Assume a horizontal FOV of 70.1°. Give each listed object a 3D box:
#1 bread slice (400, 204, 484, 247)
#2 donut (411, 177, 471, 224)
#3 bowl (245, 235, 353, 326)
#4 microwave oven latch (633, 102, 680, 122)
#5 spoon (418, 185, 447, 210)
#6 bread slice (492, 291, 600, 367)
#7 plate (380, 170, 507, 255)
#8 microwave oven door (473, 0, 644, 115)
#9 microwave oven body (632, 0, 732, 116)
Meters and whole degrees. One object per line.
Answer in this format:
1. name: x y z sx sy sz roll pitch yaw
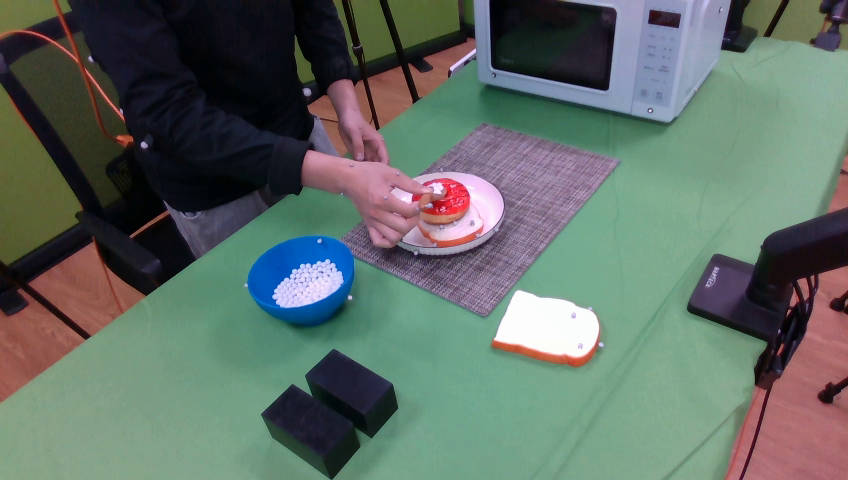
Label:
1. bread slice: 0.037 -0.036 0.991 0.107 0.018 0.133 -23 40 -18
2. donut: 0.028 -0.063 0.978 0.099 0.048 0.098 -3 40 3
3. bowl: -0.170 0.070 0.868 0.151 0.077 0.150 -4 41 4
4. microwave oven latch: 0.444 -0.249 1.157 0.078 0.029 0.030 21 49 30
5. spoon: 0.006 -0.062 0.854 0.041 0.021 0.194 -1 8 7
6. bread slice: 0.169 0.118 0.811 0.131 0.019 0.105 11 44 21
7. plate: 0.033 -0.042 0.995 0.207 0.039 0.206 -4 41 4
8. microwave oven door: 0.257 -0.396 1.199 0.353 0.245 0.039 21 48 29
9. microwave oven body: 0.377 -0.462 1.267 0.438 0.261 0.327 21 48 30
